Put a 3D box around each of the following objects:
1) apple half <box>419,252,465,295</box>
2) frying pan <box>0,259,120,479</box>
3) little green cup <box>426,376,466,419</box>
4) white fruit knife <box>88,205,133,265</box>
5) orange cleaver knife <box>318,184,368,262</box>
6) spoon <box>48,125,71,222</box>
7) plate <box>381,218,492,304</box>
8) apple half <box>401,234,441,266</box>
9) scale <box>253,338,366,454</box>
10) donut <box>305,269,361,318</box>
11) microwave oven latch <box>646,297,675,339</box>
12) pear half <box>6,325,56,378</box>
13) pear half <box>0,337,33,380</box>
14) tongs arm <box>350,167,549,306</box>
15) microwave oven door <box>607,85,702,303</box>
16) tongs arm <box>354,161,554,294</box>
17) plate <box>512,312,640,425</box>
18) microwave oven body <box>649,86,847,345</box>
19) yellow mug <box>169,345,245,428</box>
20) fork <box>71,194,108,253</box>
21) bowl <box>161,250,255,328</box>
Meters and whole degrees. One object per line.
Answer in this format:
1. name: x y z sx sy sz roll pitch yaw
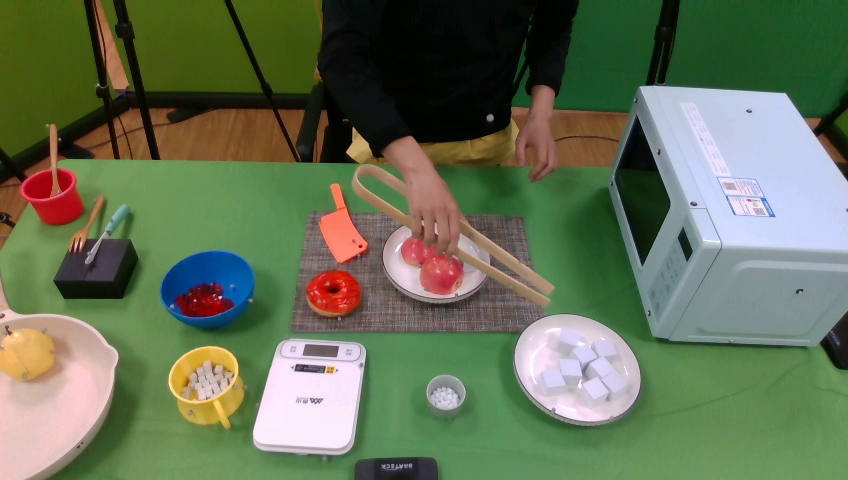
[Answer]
1. apple half: 0.034 0.056 1.109 0.074 0.053 0.081 38 55 25
2. frying pan: -0.647 0.164 0.936 0.307 0.103 0.485 -19 58 -22
3. little green cup: 0.033 0.248 0.950 0.061 0.039 0.061 2 46 -2
4. white fruit knife: -0.584 -0.013 1.129 0.016 0.027 0.206 0 31 -5
5. orange cleaver knife: -0.173 -0.037 1.218 0.077 0.012 0.210 -16 50 -12
6. spoon: -0.718 -0.131 1.188 0.041 0.021 0.193 -3 90 -6
7. plate: 0.023 0.042 1.143 0.209 0.038 0.208 2 46 -2
8. apple half: -0.005 0.014 1.159 0.081 0.033 0.081 5 44 -4
9. scale: -0.175 0.236 0.951 0.149 0.032 0.199 4 46 0
10. donut: -0.160 0.095 1.075 0.099 0.048 0.098 3 45 -3
11. microwave oven latch: 0.412 0.134 1.061 0.030 0.029 0.078 4 45 1
12. pear half: -0.608 0.158 0.935 0.076 0.110 0.056 31 51 20
13. pear half: -0.631 0.184 0.921 0.070 0.088 0.031 29 49 19
14. tongs arm: 0.038 -0.002 0.998 0.387 0.028 0.028 33 56 1
15. microwave oven door: 0.423 -0.094 1.140 0.039 0.245 0.353 2 46 -1
16. tongs arm: 0.048 -0.017 1.012 0.384 0.026 0.050 36 53 3
17. plate: 0.246 0.213 0.999 0.208 0.039 0.206 2 46 -2
18. microwave oven body: 0.567 -0.053 1.118 0.326 0.261 0.439 2 45 -1
19. yellow mug: -0.322 0.230 0.922 0.100 0.064 0.130 -24 53 -25
20. fork: -0.634 -0.036 1.158 0.028 0.019 0.206 -8 31 -8
21. bowl: -0.362 0.098 1.039 0.151 0.077 0.150 2 45 -2
